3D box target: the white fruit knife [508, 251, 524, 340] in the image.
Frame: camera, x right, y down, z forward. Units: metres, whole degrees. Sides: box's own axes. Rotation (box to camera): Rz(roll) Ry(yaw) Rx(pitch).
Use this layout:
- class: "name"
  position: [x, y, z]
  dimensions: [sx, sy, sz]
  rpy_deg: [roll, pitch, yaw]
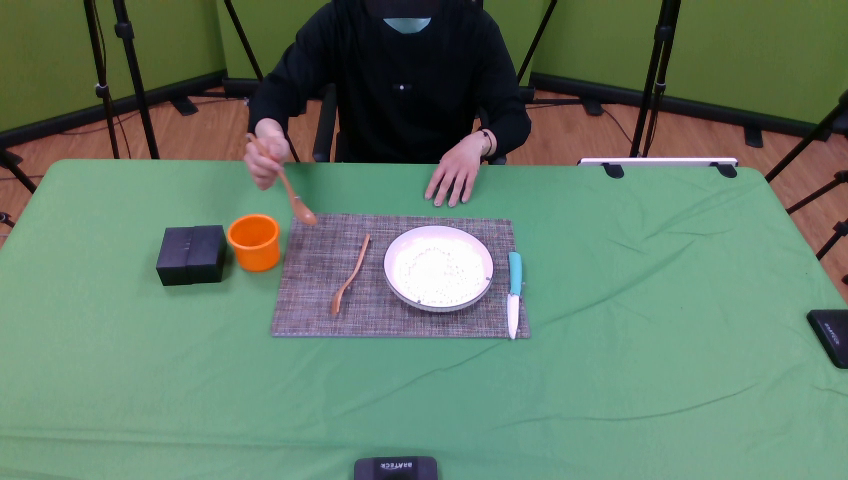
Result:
- class: "white fruit knife"
  position: [0.169, 0.098, 1.113]
  dimensions: [0.027, 0.016, 0.206]
  rpy_deg: [-13, 43, 23]

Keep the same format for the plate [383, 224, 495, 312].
- class: "plate"
  position: [0.026, 0.055, 1.128]
  dimensions: [0.209, 0.038, 0.208]
  rpy_deg: [2, 46, -2]

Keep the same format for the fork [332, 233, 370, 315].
- class: "fork"
  position: [-0.133, 0.058, 1.127]
  dimensions: [0.019, 0.028, 0.206]
  rpy_deg: [35, 44, -12]

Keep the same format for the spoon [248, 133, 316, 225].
- class: "spoon"
  position: [-0.249, -0.107, 1.070]
  dimensions: [0.021, 0.194, 0.041]
  rpy_deg: [-20, 23, 21]
